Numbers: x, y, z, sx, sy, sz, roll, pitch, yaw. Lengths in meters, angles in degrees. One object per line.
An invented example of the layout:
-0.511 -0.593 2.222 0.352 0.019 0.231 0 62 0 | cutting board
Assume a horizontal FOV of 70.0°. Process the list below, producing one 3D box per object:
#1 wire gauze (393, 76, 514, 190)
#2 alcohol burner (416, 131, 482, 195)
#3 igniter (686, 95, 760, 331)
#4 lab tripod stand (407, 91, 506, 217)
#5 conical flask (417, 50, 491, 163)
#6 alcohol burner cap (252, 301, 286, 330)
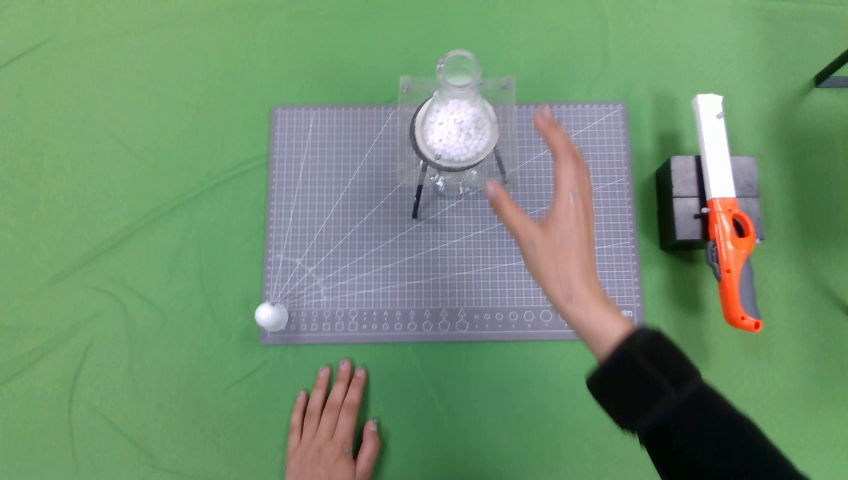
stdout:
0.031 -0.113 0.622 0.125 0.011 0.121 2 79 -2 | wire gauze
0.029 -0.094 0.696 0.078 0.119 0.077 0 78 2 | alcohol burner
0.334 -0.035 0.682 0.057 0.025 0.275 -1 75 -4 | igniter
0.025 -0.101 0.687 0.148 0.132 0.147 0 77 2 | lab tripod stand
0.029 -0.127 0.565 0.075 0.122 0.075 0 75 1 | conical flask
-0.180 0.084 0.691 0.034 0.048 0.033 0 75 -1 | alcohol burner cap
